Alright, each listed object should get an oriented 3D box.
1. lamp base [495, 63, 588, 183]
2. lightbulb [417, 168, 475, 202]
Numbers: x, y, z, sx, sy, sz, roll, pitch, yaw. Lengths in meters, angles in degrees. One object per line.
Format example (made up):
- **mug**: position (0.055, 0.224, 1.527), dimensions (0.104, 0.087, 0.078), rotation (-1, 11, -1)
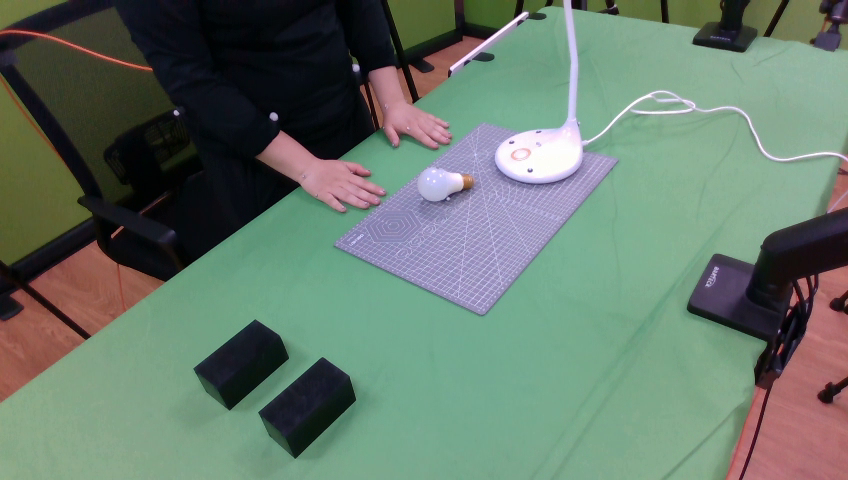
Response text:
- **lamp base**: position (0.215, -0.217, 1.067), dimensions (0.180, 0.181, 0.159), rotation (-19, 42, -18)
- **lightbulb**: position (0.040, -0.097, 1.055), dimensions (0.108, 0.059, 0.059), rotation (-7, 37, -25)
